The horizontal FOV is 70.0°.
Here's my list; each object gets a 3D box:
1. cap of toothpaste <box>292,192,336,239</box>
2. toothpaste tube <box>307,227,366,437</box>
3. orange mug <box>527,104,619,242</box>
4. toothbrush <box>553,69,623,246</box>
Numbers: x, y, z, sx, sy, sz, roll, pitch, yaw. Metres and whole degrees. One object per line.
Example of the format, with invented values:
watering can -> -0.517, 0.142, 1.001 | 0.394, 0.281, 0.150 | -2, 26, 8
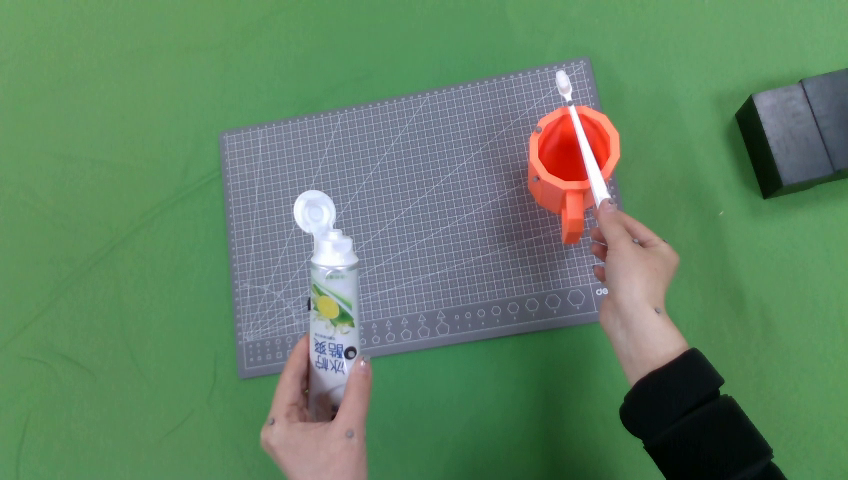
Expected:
cap of toothpaste -> -0.081, -0.019, 0.454 | 0.037, 0.011, 0.037 | 6, 80, -36
toothpaste tube -> -0.069, 0.071, 0.460 | 0.055, 0.034, 0.165 | 8, 106, 28
orange mug -> 0.150, -0.064, 0.621 | 0.083, 0.101, 0.125 | -2, 74, 8
toothbrush -> 0.151, -0.080, 0.561 | 0.014, 0.017, 0.180 | -18, 74, 10
